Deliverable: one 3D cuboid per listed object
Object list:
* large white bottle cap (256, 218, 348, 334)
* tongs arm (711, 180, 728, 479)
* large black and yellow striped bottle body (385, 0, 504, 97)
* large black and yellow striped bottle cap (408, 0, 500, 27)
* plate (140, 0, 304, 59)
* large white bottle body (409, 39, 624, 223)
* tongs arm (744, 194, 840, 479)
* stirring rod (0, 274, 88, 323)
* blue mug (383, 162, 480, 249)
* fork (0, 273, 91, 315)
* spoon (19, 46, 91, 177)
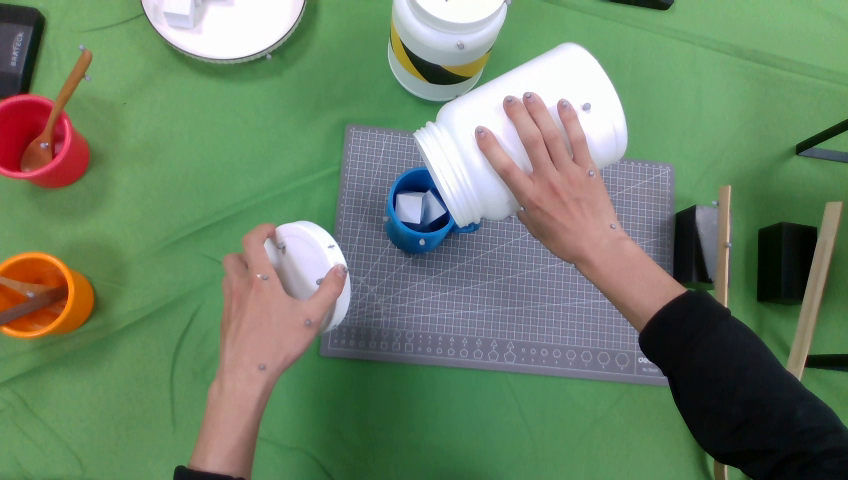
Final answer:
[{"bbox_3d":[-0.122,0.036,0.596,0.018,0.114,0.114,-14,79,-53],"label":"large white bottle cap"},{"bbox_3d":[0.380,0.120,0.750,0.051,0.026,0.384,2,92,-9],"label":"tongs arm"},{"bbox_3d":[0.022,-0.269,0.733,0.131,0.184,0.130,1,79,-7],"label":"large black and yellow striped bottle body"},{"bbox_3d":[0.032,-0.286,0.652,0.115,0.019,0.114,1,81,-8],"label":"large black and yellow striped bottle cap"},{"bbox_3d":[-0.257,-0.327,0.783,0.208,0.039,0.207,1,80,-7],"label":"plate"},{"bbox_3d":[0.090,-0.104,0.614,0.184,0.131,0.130,-27,84,1],"label":"large white bottle body"},{"bbox_3d":[0.461,0.129,0.761,0.028,0.027,0.387,15,90,-13],"label":"tongs arm"},{"bbox_3d":[-0.437,0.075,0.639,0.014,0.006,0.176,53,36,1],"label":"stirring rod"},{"bbox_3d":[0.009,-0.035,0.728,0.117,0.106,0.082,13,78,-4],"label":"blue mug"},{"bbox_3d":[-0.457,0.035,0.637,0.209,0.018,0.028,36,71,-44],"label":"fork"},{"bbox_3d":[-0.413,-0.140,0.676,0.041,0.021,0.194,51,122,7],"label":"spoon"}]
